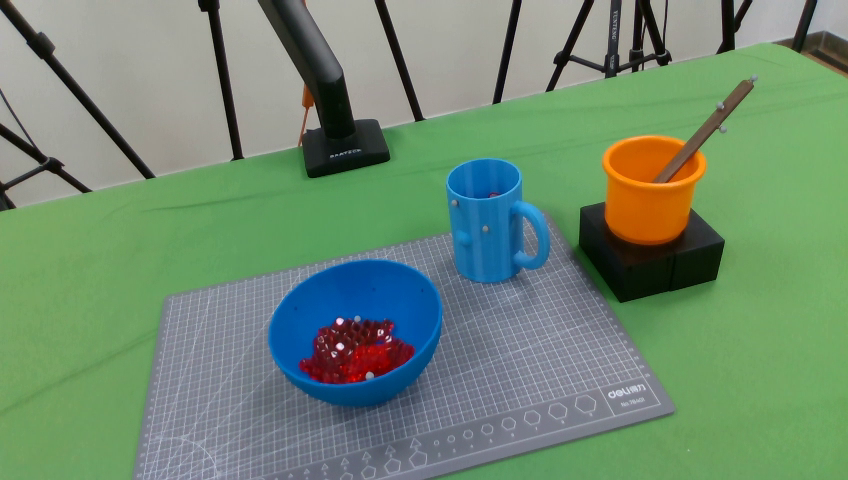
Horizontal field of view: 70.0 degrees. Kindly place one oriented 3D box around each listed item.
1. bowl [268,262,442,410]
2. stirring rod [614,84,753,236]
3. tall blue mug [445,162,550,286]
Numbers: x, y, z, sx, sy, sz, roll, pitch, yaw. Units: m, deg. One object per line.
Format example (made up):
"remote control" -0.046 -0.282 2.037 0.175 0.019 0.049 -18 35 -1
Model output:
"bowl" -0.054 0.097 0.539 0.151 0.077 0.150 -5 38 4
"stirring rod" 0.242 -0.073 0.571 0.176 0.006 0.014 -52 37 14
"tall blue mug" 0.080 -0.014 0.628 0.107 0.109 0.077 4 39 16
